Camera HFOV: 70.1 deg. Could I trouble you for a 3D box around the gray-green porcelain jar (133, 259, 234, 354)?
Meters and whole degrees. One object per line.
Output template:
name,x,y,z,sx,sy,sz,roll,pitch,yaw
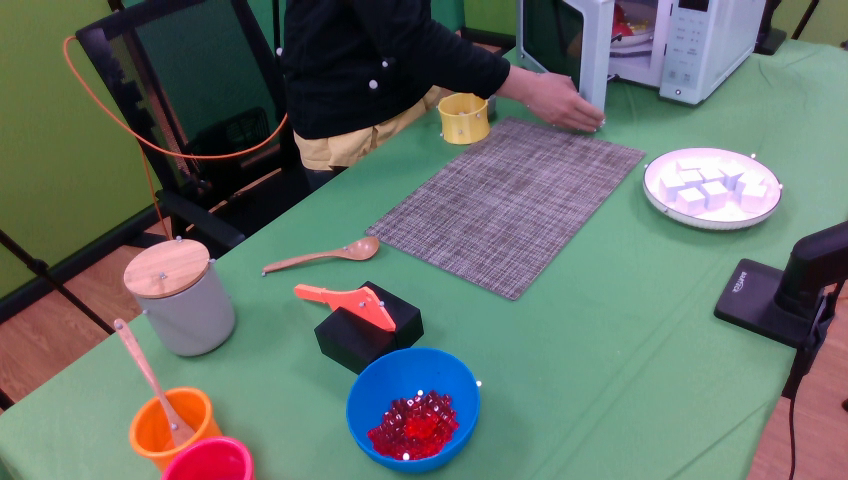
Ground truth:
gray-green porcelain jar,-0.328,0.087,0.836,0.106,0.127,0.105,-4,41,4

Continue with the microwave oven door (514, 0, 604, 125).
microwave oven door,0.269,-0.420,1.224,0.039,0.245,0.353,-16,41,-10

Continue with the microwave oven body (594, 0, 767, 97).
microwave oven body,0.474,-0.516,1.314,0.438,0.261,0.327,26,52,34

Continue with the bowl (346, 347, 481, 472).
bowl,-0.008,0.205,0.690,0.151,0.077,0.150,-4,40,4

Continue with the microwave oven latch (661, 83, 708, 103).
microwave oven latch,0.517,-0.297,1.204,0.078,0.029,0.030,26,52,33

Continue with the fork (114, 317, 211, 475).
fork,-0.309,0.180,0.708,0.028,0.018,0.207,-29,89,-26

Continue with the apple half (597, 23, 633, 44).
apple half,0.417,-0.460,1.329,0.081,0.033,0.081,-2,38,2

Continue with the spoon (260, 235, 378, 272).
spoon,-0.168,0.024,0.966,0.194,0.022,0.041,-10,59,-3

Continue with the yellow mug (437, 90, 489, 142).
yellow mug,0.069,-0.257,1.224,0.100,0.064,0.129,-32,43,-26

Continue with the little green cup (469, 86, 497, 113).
little green cup,0.124,-0.297,1.285,0.061,0.039,0.061,-3,40,3

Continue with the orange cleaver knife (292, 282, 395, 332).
orange cleaver knife,-0.116,0.091,0.835,0.209,0.077,0.012,2,32,48

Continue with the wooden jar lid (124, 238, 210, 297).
wooden jar lid,-0.335,0.039,0.794,0.108,0.021,0.108,-2,40,2

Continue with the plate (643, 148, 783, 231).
plate,0.464,-0.080,0.986,0.207,0.039,0.206,-4,41,4
